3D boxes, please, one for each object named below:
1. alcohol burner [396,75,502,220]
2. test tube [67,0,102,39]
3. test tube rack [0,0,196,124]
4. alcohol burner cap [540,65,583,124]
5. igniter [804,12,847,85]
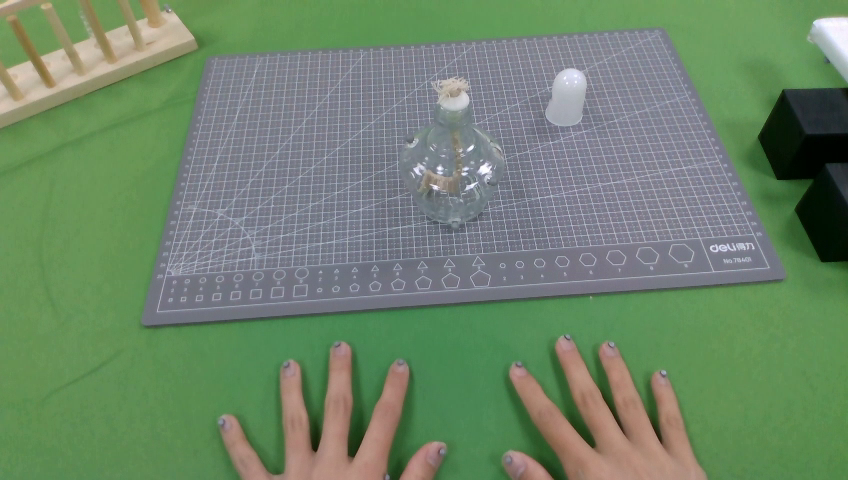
[{"bbox_3d":[0.018,-0.069,0.431,0.078,0.120,0.077,0,54,0],"label":"alcohol burner"},{"bbox_3d":[-0.323,-0.248,0.529,0.017,0.152,0.017,-4,45,4],"label":"test tube"},{"bbox_3d":[-0.345,-0.181,0.546,0.242,0.086,0.066,-30,58,-19],"label":"test tube rack"},{"bbox_3d":[0.118,-0.126,0.514,0.034,0.048,0.033,0,53,0],"label":"alcohol burner cap"},{"bbox_3d":[0.341,-0.077,0.424,0.057,0.025,0.273,-5,52,2],"label":"igniter"}]
